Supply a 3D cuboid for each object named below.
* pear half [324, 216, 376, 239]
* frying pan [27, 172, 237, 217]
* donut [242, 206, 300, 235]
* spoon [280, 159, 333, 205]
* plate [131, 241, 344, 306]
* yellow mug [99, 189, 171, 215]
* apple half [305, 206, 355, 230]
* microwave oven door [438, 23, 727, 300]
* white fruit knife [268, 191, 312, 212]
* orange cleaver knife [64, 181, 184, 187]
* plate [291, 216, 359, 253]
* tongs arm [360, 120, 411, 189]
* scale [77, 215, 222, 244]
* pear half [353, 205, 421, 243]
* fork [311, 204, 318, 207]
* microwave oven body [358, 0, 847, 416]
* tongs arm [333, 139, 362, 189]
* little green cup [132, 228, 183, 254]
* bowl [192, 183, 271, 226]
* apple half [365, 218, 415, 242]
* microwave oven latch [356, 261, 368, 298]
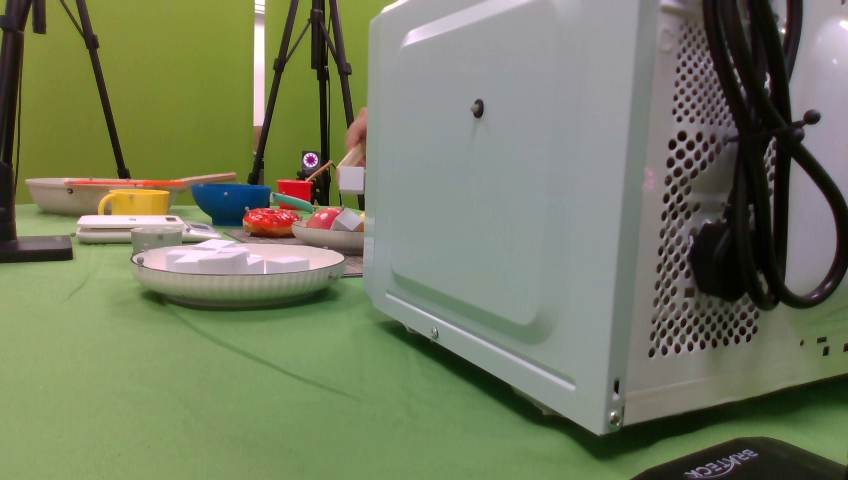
[{"bbox_3d":[-0.119,-0.023,0.996,0.088,0.031,0.070,-4,23,-28],"label":"pear half"},{"bbox_3d":[-0.624,-0.118,1.387,0.305,0.102,0.490,8,17,32],"label":"frying pan"},{"bbox_3d":[-0.262,-0.032,1.039,0.099,0.048,0.099,4,10,0],"label":"donut"},{"bbox_3d":[-0.317,-0.159,1.640,0.194,0.022,0.041,-49,32,-20],"label":"spoon"},{"bbox_3d":[-0.187,0.033,0.625,0.208,0.039,0.207,2,7,0],"label":"plate"},{"bbox_3d":[-0.519,-0.055,1.080,0.099,0.064,0.131,7,9,26],"label":"yellow mug"},{"bbox_3d":[-0.138,-0.024,0.917,0.081,0.053,0.074,0,10,-43],"label":"apple half"},{"bbox_3d":[0.181,-0.073,0.621,0.358,0.243,0.039,-2,8,-29],"label":"microwave oven door"},{"bbox_3d":[-0.364,-0.105,1.464,0.208,0.027,0.016,15,-1,-34],"label":"white fruit knife"},{"bbox_3d":[-0.596,-0.113,1.212,0.212,0.012,0.077,-3,7,-41],"label":"orange cleaver knife"},{"bbox_3d":[-0.103,-0.009,0.945,0.209,0.038,0.209,2,7,0],"label":"plate"},{"bbox_3d":[-0.065,-0.144,0.952,0.050,0.026,0.385,2,21,11],"label":"tongs arm"},{"bbox_3d":[-0.434,-0.019,0.963,0.202,0.031,0.148,-1,9,-27],"label":"scale"},{"bbox_3d":[-0.051,-0.023,0.905,0.110,0.056,0.076,2,-3,-38],"label":"pear half"},{"bbox_3d":[-0.356,-0.105,1.526,0.208,0.018,0.028,16,-5,-41],"label":"fork"},{"bbox_3d":[0.211,-0.047,0.475,0.444,0.260,0.324,-1,7,-28],"label":"microwave oven body"},{"bbox_3d":[-0.089,-0.144,0.954,0.028,0.028,0.387,-3,20,8],"label":"tongs arm"},{"bbox_3d":[-0.342,0.006,0.779,0.061,0.038,0.061,2,8,0],"label":"little green cup"},{"bbox_3d":[-0.382,-0.071,1.202,0.151,0.077,0.151,3,7,0],"label":"bowl"},{"bbox_3d":[-0.053,-0.019,0.967,0.081,0.033,0.081,-3,12,1],"label":"apple half"},{"bbox_3d":[-0.019,0.033,0.530,0.079,0.029,0.030,-1,7,-26],"label":"microwave oven latch"}]
